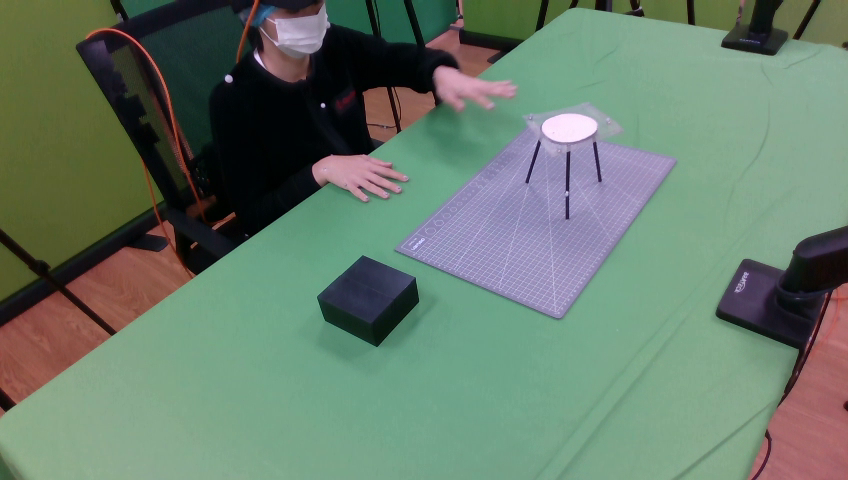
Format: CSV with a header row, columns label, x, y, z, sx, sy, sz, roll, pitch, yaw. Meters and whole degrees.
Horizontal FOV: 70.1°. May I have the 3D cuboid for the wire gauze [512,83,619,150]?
label,x,y,z,sx,sy,sz,roll,pitch,yaw
wire gauze,0.221,-0.193,0.950,0.125,0.011,0.120,-34,50,-17

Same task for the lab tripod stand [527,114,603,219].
label,x,y,z,sx,sy,sz,roll,pitch,yaw
lab tripod stand,0.235,-0.129,1.002,0.148,0.132,0.147,-6,40,6
